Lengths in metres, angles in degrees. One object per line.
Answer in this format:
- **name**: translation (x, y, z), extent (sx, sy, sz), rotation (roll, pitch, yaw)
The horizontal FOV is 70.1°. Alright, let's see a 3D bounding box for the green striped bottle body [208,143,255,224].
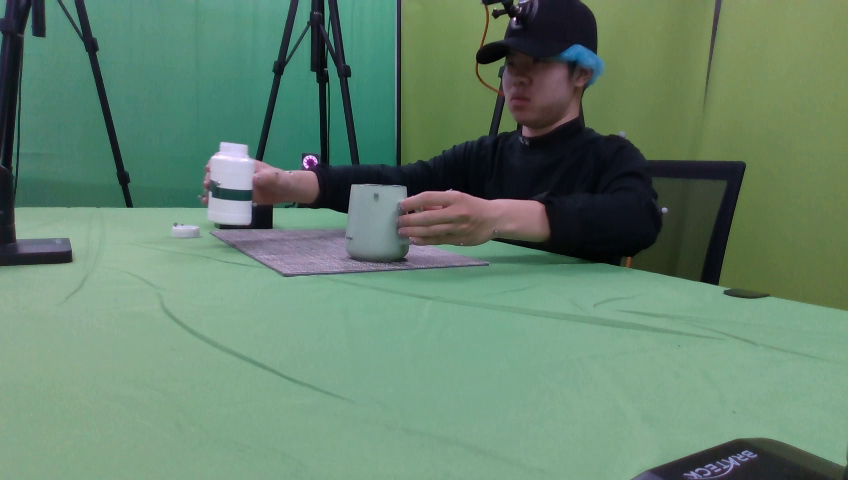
- **green striped bottle body**: translation (-0.290, -0.085, 0.911), extent (0.063, 0.119, 0.063), rotation (6, 6, 0)

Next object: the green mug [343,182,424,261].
- **green mug**: translation (-0.053, -0.026, 0.849), extent (0.125, 0.105, 0.093), rotation (7, 9, 33)

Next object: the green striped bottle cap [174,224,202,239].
- **green striped bottle cap**: translation (-0.405, -0.015, 1.036), extent (0.044, 0.020, 0.044), rotation (-1, 9, 1)

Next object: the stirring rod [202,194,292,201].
- **stirring rod**: translation (-0.353, -0.086, 1.216), extent (0.177, 0.014, 0.006), rotation (-1, 12, -27)
